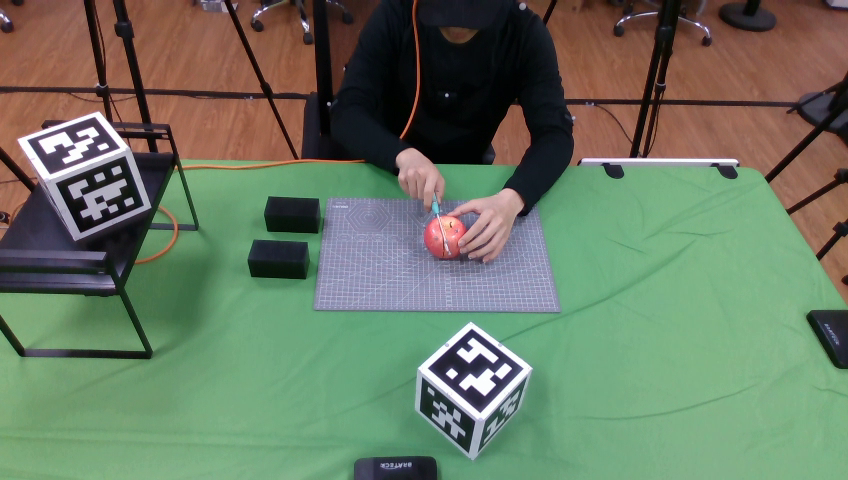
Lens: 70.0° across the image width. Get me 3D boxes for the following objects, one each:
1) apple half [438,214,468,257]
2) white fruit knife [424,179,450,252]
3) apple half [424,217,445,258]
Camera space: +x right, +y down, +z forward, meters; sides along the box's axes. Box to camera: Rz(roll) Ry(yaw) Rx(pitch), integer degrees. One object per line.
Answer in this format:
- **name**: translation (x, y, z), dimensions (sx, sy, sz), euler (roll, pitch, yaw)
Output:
- **apple half**: translation (0.057, -0.007, 1.163), dimensions (0.053, 0.075, 0.080), euler (-4, 44, -14)
- **white fruit knife**: translation (0.027, -0.052, 1.166), dimensions (0.016, 0.027, 0.206), euler (-12, 47, -4)
- **apple half**: translation (0.017, 0.000, 1.155), dimensions (0.033, 0.081, 0.080), euler (-8, 48, -9)
